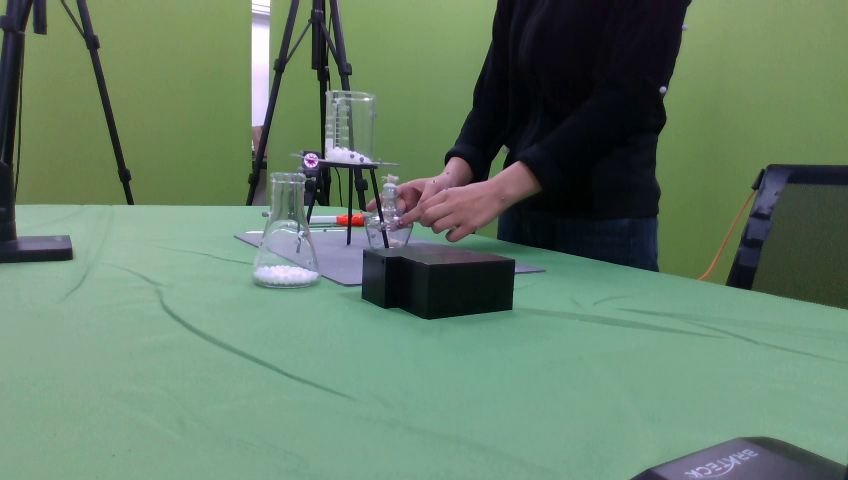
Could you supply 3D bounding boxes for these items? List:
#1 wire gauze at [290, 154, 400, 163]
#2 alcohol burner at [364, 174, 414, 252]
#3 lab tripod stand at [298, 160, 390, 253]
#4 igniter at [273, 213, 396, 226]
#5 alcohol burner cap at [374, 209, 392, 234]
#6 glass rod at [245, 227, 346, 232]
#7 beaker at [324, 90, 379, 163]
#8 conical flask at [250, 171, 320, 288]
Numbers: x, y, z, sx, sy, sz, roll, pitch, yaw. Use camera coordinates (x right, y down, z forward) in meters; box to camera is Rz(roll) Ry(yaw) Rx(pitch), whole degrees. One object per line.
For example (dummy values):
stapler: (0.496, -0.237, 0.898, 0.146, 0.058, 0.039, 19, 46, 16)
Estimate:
wire gauze: (-0.112, -0.114, 0.883, 0.124, 0.011, 0.122, 5, 5, 28)
alcohol burner: (-0.053, -0.042, 0.929, 0.078, 0.119, 0.078, 1, 7, 0)
lab tripod stand: (-0.111, -0.050, 0.893, 0.148, 0.131, 0.148, 4, 7, 0)
igniter: (-0.179, -0.044, 1.258, 0.278, 0.025, 0.057, -3, -1, -39)
alcohol burner cap: (-0.078, -0.035, 1.148, 0.034, 0.048, 0.034, 2, 7, 0)
glass rod: (-0.237, -0.021, 1.141, 0.201, 0.008, 0.008, -2, 8, -32)
beaker: (-0.110, -0.162, 0.879, 0.083, 0.100, 0.074, 8, 7, 36)
conical flask: (-0.150, -0.013, 0.658, 0.075, 0.122, 0.075, 2, 7, 0)
